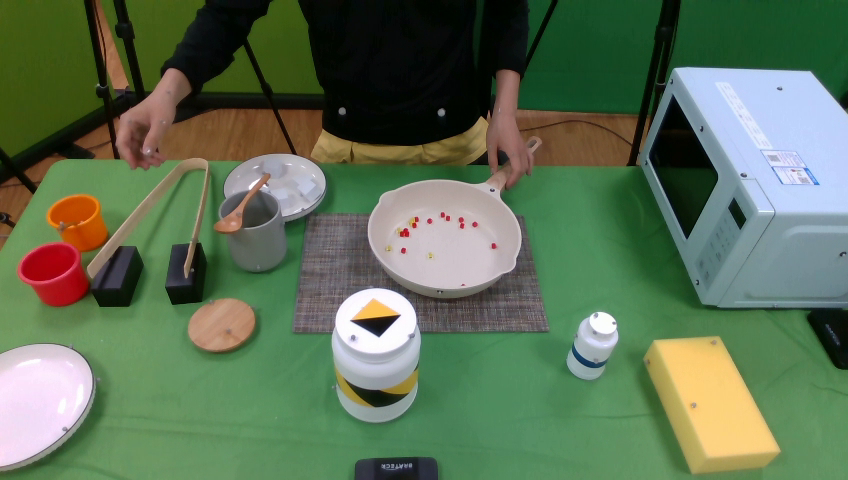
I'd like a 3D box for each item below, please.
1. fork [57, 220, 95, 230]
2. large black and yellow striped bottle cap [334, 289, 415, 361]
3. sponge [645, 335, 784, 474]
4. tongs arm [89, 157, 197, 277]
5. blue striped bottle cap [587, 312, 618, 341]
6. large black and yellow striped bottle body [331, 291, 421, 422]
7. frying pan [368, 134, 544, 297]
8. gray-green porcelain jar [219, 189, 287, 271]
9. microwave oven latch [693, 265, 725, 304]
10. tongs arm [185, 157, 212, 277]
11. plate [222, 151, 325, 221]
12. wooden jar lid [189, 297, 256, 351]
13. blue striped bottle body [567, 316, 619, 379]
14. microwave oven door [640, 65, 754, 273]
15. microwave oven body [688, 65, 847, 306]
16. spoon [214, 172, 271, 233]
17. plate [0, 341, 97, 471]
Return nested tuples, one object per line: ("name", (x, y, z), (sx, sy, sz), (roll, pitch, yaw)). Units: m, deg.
("fork", (-0.624, -0.027, 1.086), (0.028, 0.018, 0.207), (-2, 2, -17))
("large black and yellow striped bottle cap", (-0.069, 0.117, 0.850), (0.115, 0.019, 0.114), (2, 45, -2))
("sponge", (0.449, 0.253, 0.956), (0.118, 0.061, 0.205), (-4, 46, -7))
("tongs arm", (-0.529, -0.059, 1.163), (0.028, 0.028, 0.385), (2, 36, 7))
("blue striped bottle cap", (0.279, 0.134, 0.947), (0.044, 0.021, 0.044), (2, 45, -2))
("large black and yellow striped bottle body", (-0.072, 0.175, 0.911), (0.131, 0.185, 0.130), (2, 47, -2))
("frying pan", (0.104, -0.069, 1.205), (0.305, 0.103, 0.487), (32, 61, 23))
("gray-green porcelain jar", (-0.310, -0.014, 1.113), (0.106, 0.127, 0.105), (2, 46, -2))
("microwave oven latch", (0.523, 0.081, 1.116), (0.030, 0.029, 0.078), (2, 46, -1))
("tongs arm", (-0.446, -0.058, 1.168), (0.051, 0.026, 0.382), (-4, 37, -6))
("plate", (-0.310, -0.106, 1.262), (0.208, 0.039, 0.206), (2, 47, -2))
("wooden jar lid", (-0.342, 0.145, 1.033), (0.108, 0.021, 0.107), (2, 45, -2))
("blue striped bottle body", (0.276, 0.168, 0.984), (0.063, 0.121, 0.062), (2, 46, -2))
("microwave oven door", (0.523, -0.147, 1.193), (0.039, 0.245, 0.353), (0, 47, -3))
("microwave oven body", (0.669, -0.111, 1.176), (0.326, 0.261, 0.439), (0, 46, -3))
("spoon", (-0.312, -0.070, 1.070), (0.041, 0.022, 0.193), (12, 43, 8))
("plate", (-0.599, 0.247, 0.904), (0.209, 0.038, 0.208), (2, 47, -2))
